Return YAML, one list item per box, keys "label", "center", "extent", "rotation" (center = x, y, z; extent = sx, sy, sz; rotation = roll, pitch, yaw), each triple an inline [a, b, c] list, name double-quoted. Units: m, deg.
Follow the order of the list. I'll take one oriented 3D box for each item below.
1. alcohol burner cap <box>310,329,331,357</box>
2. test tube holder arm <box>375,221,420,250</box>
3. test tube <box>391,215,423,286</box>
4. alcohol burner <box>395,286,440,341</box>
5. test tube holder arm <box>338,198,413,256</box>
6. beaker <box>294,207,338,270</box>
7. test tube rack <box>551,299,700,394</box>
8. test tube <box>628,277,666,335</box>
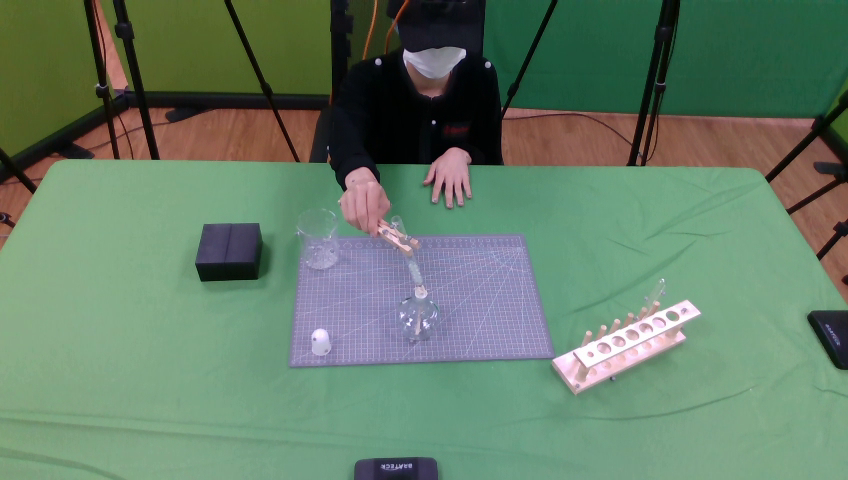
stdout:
- label: "alcohol burner cap"
  center: [-0.173, 0.168, 1.004]
  extent: [0.034, 0.048, 0.033]
  rotation: [2, 46, -2]
- label: "test tube holder arm"
  center: [-0.043, -0.008, 0.915]
  extent: [0.087, 0.015, 0.010]
  rotation: [25, 59, 32]
- label: "test tube"
  center: [-0.024, 0.019, 0.916]
  extent: [0.017, 0.151, 0.017]
  rotation: [-9, 46, 9]
- label: "alcohol burner"
  center: [-0.010, 0.116, 1.018]
  extent: [0.078, 0.119, 0.077]
  rotation: [3, 47, -3]
- label: "test tube holder arm"
  center: [-0.079, -0.023, 0.939]
  extent: [0.013, 0.015, 0.177]
  rotation: [-40, 51, -22]
- label: "beaker"
  center: [-0.196, 0.003, 1.123]
  extent: [0.074, 0.101, 0.083]
  rotation: [-23, 53, -24]
- label: "test tube rack"
  center: [0.339, 0.166, 1.021]
  extent: [0.242, 0.085, 0.066]
  rotation: [-19, 50, -21]
- label: "test tube"
  center: [0.371, 0.112, 1.014]
  extent: [0.017, 0.151, 0.017]
  rotation: [3, 47, -3]
